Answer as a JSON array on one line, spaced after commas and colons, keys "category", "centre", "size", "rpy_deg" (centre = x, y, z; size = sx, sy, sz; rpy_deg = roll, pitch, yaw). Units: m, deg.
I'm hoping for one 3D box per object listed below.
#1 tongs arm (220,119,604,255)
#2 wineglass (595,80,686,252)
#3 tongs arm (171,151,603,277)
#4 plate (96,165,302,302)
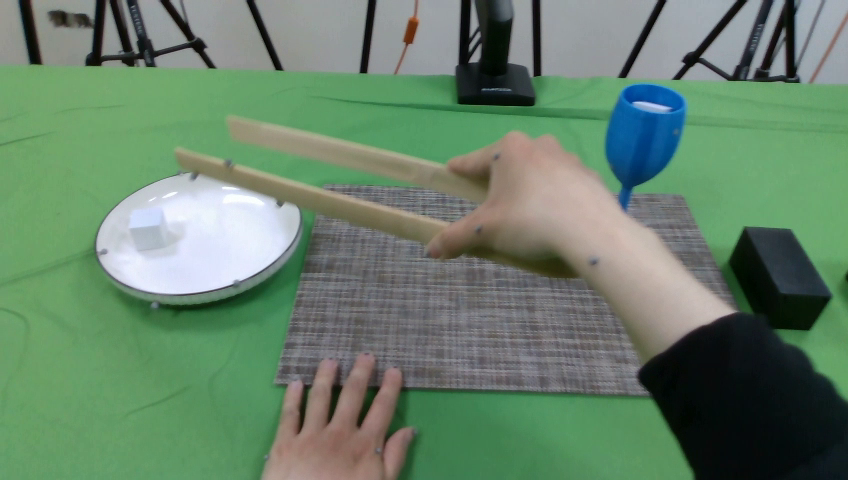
[{"category": "tongs arm", "centre": [-0.035, -0.056, 0.508], "size": [0.385, 0.028, 0.028], "rpy_deg": [17, 41, 27]}, {"category": "wineglass", "centre": [0.219, -0.075, 0.640], "size": [0.074, 0.174, 0.073], "rpy_deg": [1, 42, -1]}, {"category": "tongs arm", "centre": [-0.054, -0.034, 0.484], "size": [0.382, 0.027, 0.050], "rpy_deg": [17, 44, 27]}, {"category": "plate", "centre": [-0.235, -0.007, 0.651], "size": [0.209, 0.038, 0.207], "rpy_deg": [1, 42, -1]}]
